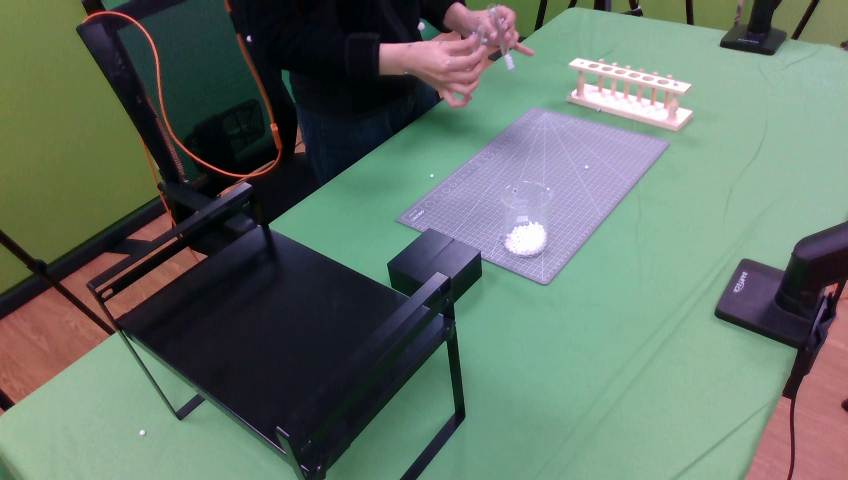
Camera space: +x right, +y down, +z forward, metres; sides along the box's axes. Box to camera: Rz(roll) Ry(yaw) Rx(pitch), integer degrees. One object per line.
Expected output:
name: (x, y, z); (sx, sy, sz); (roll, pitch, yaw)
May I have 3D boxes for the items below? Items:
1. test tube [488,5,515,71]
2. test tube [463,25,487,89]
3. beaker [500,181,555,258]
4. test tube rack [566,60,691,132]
test tube: (0.147, -0.375, 1.133); (0.017, 0.151, 0.017); (-12, 54, 17)
test tube: (0.086, -0.314, 1.046); (0.017, 0.150, 0.017); (3, 65, -6)
beaker: (0.158, -0.030, 0.922); (0.084, 0.100, 0.073); (-13, 41, -8)
test tube rack: (0.411, -0.299, 1.216); (0.240, 0.085, 0.067); (26, 50, 33)
